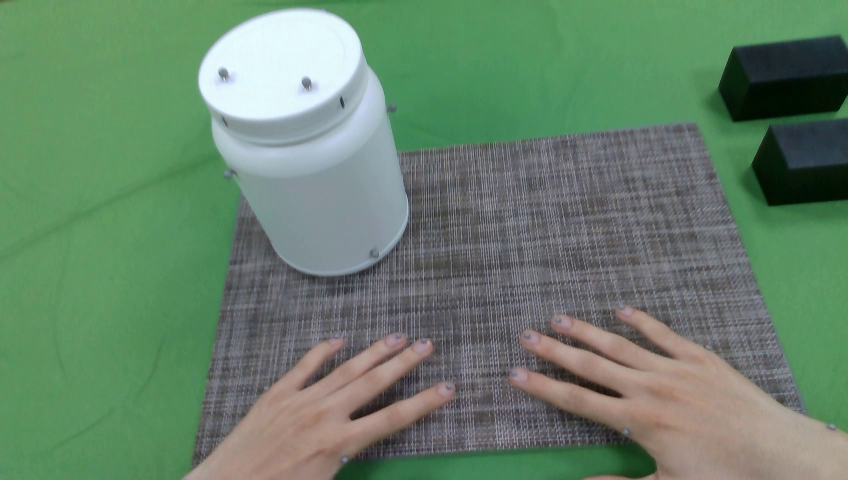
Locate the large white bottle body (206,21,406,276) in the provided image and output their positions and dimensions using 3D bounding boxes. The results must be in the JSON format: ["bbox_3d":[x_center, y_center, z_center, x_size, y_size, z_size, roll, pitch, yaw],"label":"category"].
[{"bbox_3d":[-0.091,-0.069,0.493,0.130,0.186,0.129,-4,55,6],"label":"large white bottle body"}]

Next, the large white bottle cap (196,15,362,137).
[{"bbox_3d":[-0.101,-0.118,0.425,0.115,0.018,0.113,-3,55,5],"label":"large white bottle cap"}]
